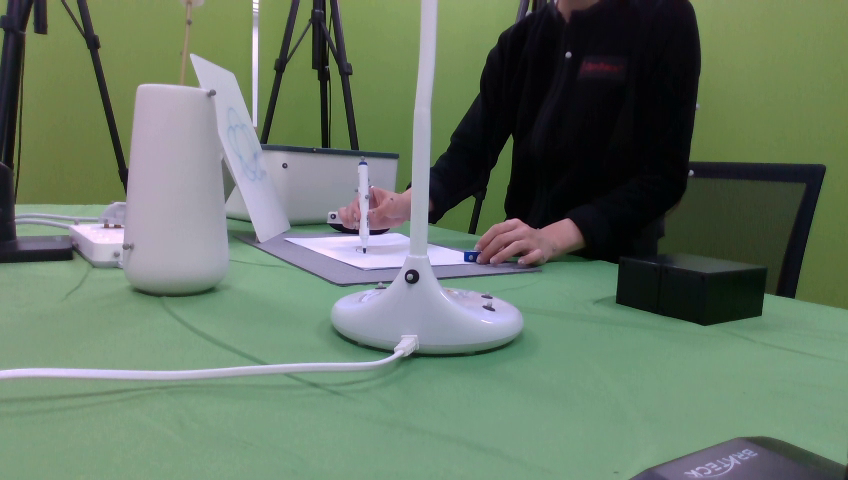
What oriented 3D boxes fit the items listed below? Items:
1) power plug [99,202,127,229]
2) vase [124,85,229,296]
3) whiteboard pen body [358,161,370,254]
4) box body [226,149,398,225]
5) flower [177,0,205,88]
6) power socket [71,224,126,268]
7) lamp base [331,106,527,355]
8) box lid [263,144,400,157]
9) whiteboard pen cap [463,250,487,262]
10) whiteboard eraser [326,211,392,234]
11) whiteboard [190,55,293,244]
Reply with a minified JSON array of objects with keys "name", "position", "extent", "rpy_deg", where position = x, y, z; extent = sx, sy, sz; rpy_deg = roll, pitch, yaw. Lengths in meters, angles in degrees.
[{"name":"power plug","position":[-0.415,-0.026,0.848],"extent":[0.073,0.052,0.035],"rpy_deg":[6,5,-28]},{"name":"vase","position":[-0.244,-0.047,0.598],"extent":[0.098,0.200,0.098],"rpy_deg":[3,8,0]},{"name":"whiteboard pen body","position":[-0.088,-0.049,0.895],"extent":[0.017,0.140,0.017],"rpy_deg":[-2,-11,0]},{"name":"box body","position":[-0.265,-0.129,1.380],"extent":[0.253,0.160,0.366],"rpy_deg":[8,9,39]},{"name":"flower","position":[-0.243,-0.131,0.609],"extent":[0.044,0.361,0.038],"rpy_deg":[-5,-12,12]},{"name":"power socket","position":[-0.409,0.004,0.793],"extent":[0.072,0.032,0.225],"rpy_deg":[-2,8,-37]},{"name":"lamp base","position":[0.006,-0.012,0.478],"extent":[0.161,0.180,0.179],"rpy_deg":[2,10,2]},{"name":"box lid","position":[-0.263,-0.203,1.369],"extent":[0.262,0.015,0.373],"rpy_deg":[9,10,39]},{"name":"whiteboard pen cap","position":[0.072,0.023,0.851],"extent":[0.033,0.018,0.018],"rpy_deg":[-3,7,9]},{"name":"whiteboard eraser","position":[-0.121,-0.033,1.131],"extent":[0.112,0.042,0.056],"rpy_deg":[4,8,13]},{"name":"whiteboard","position":[-0.362,-0.129,1.029],"extent":[0.144,0.305,0.217],"rpy_deg":[-18,7,3]}]
